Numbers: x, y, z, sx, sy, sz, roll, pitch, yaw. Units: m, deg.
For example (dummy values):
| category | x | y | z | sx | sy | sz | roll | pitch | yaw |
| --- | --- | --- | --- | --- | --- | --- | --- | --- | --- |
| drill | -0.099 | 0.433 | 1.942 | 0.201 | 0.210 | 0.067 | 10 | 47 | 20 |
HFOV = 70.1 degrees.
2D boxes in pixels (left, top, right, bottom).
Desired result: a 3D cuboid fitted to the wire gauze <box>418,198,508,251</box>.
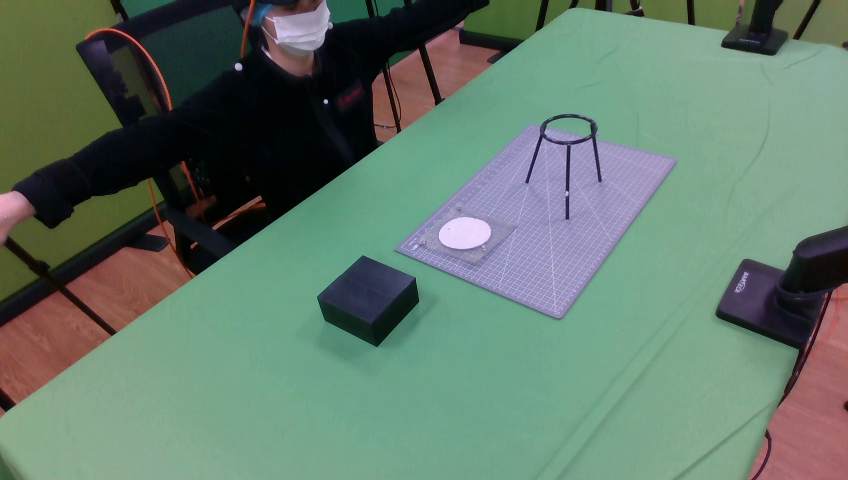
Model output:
| category | x | y | z | sx | sy | sz | roll | pitch | yaw |
| --- | --- | --- | --- | --- | --- | --- | --- | --- | --- |
| wire gauze | 0.065 | -0.028 | 0.983 | 0.124 | 0.011 | 0.121 | 2 | 42 | 22 |

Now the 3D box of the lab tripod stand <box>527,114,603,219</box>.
| category | x | y | z | sx | sy | sz | roll | pitch | yaw |
| --- | --- | --- | --- | --- | --- | --- | --- | --- | --- |
| lab tripod stand | 0.234 | -0.129 | 1.002 | 0.148 | 0.132 | 0.147 | -6 | 40 | 6 |
